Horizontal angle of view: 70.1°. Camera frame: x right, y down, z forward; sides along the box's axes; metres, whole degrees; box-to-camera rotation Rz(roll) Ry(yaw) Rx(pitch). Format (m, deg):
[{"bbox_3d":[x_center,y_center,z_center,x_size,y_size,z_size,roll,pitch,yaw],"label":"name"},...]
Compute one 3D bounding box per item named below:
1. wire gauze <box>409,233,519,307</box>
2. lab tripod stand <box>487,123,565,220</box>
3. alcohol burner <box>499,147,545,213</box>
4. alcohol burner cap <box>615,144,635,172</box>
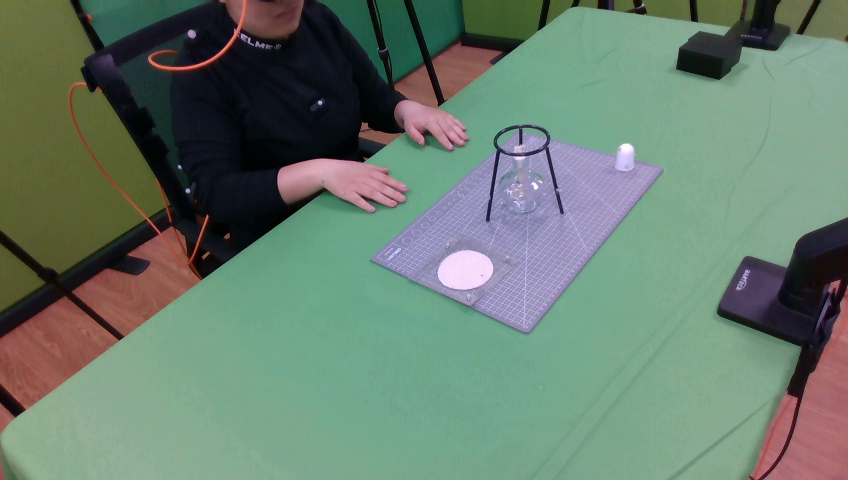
[{"bbox_3d":[0.061,0.045,0.925,0.120,0.011,0.125,25,52,35],"label":"wire gauze"},{"bbox_3d":[0.162,-0.110,0.992,0.148,0.132,0.147,-5,42,5],"label":"lab tripod stand"},{"bbox_3d":[0.161,-0.104,1.001,0.078,0.120,0.077,-6,42,6],"label":"alcohol burner"},{"bbox_3d":[0.357,-0.147,1.069,0.034,0.048,0.033,-7,40,6],"label":"alcohol burner cap"}]
